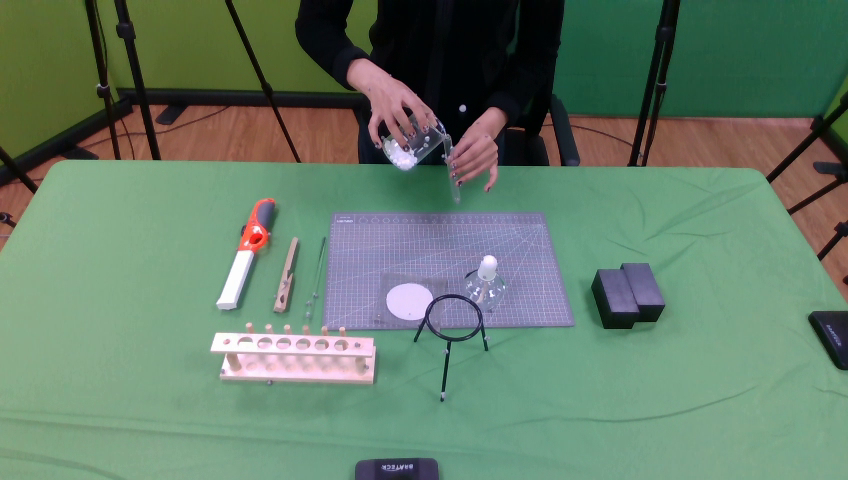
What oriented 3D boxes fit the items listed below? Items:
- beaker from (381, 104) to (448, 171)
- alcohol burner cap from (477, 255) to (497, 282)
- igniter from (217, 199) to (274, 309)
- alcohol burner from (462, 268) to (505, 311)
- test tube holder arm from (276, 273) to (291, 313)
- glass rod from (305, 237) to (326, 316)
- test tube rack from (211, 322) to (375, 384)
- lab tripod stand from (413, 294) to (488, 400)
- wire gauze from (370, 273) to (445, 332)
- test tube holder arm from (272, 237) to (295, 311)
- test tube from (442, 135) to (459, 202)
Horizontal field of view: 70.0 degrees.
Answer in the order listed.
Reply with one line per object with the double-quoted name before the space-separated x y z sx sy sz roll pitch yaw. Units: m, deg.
"beaker" -0.018 -0.174 1.057 0.100 0.084 0.073 -39 49 19
"alcohol burner cap" 0.110 0.047 1.046 0.034 0.048 0.033 2 52 -2
"igniter" -0.336 0.017 1.153 0.057 0.025 0.275 -2 45 8
"alcohol burner" 0.108 0.071 1.072 0.078 0.119 0.077 4 45 -4
"test tube holder arm" -0.254 0.093 1.094 0.010 0.015 0.087 28 38 -26
"glass rod" -0.202 0.063 1.131 0.008 0.008 0.198 4 44 0
"test tube rack" -0.203 0.176 0.969 0.242 0.085 0.066 3 46 -2
"lab tripod stand" 0.044 0.159 0.972 0.148 0.132 0.147 3 44 -2
"wire gauze" -0.028 0.108 1.099 0.125 0.011 0.121 7 45 4
"test tube holder arm" -0.259 0.059 1.123 0.013 0.015 0.177 28 38 -26
"test tube" 0.050 -0.129 1.124 0.017 0.151 0.017 -6 44 6
